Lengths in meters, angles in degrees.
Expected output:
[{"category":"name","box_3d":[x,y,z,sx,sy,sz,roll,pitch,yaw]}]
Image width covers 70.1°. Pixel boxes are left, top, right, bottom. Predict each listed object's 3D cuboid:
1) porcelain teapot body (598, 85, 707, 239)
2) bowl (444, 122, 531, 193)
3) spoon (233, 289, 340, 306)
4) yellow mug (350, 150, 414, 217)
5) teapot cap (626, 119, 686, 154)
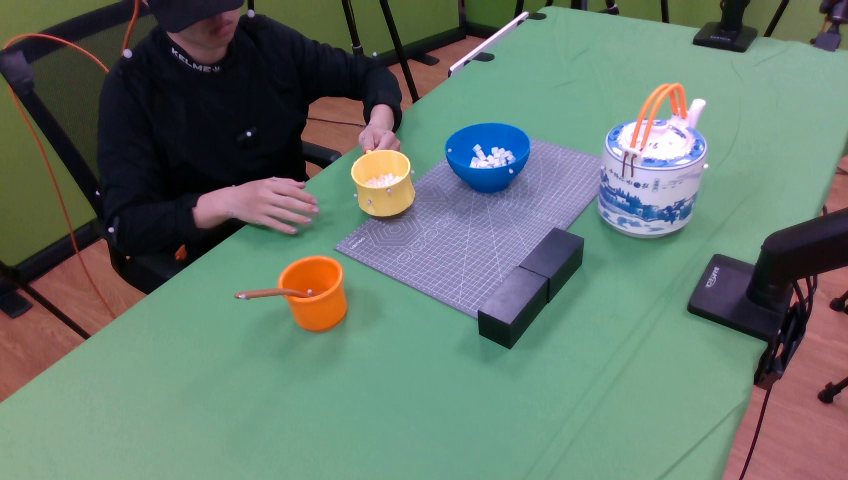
[{"category":"porcelain teapot body","box_3d":[0.363,-0.137,0.921,0.144,0.226,0.206,28,51,36]},{"category":"bowl","box_3d":[0.113,-0.136,1.063,0.151,0.077,0.150,-4,41,4]},{"category":"spoon","box_3d":[-0.180,0.075,0.811,0.041,0.195,0.021,17,91,31]},{"category":"yellow mug","box_3d":[-0.076,-0.106,1.026,0.100,0.064,0.129,-22,47,-13]},{"category":"teapot cap","box_3d":[0.338,-0.153,0.882,0.085,0.044,0.085,-3,38,3]}]
